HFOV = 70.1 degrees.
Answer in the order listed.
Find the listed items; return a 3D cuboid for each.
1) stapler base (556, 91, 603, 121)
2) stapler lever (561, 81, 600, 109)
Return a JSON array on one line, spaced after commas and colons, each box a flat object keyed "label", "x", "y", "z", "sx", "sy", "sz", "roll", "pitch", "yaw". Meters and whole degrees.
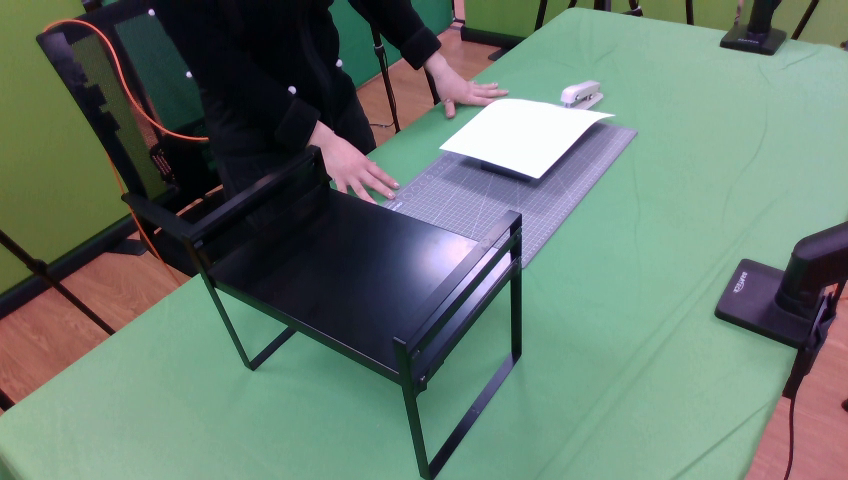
[{"label": "stapler base", "x": 0.325, "y": -0.287, "z": 1.261, "sx": 0.041, "sy": 0.024, "sz": 0.131, "roll": 28, "pitch": 49, "yaw": 34}, {"label": "stapler lever", "x": 0.323, "y": -0.307, "z": 1.247, "sx": 0.026, "sy": 0.040, "sz": 0.118, "roll": 28, "pitch": 49, "yaw": 34}]
